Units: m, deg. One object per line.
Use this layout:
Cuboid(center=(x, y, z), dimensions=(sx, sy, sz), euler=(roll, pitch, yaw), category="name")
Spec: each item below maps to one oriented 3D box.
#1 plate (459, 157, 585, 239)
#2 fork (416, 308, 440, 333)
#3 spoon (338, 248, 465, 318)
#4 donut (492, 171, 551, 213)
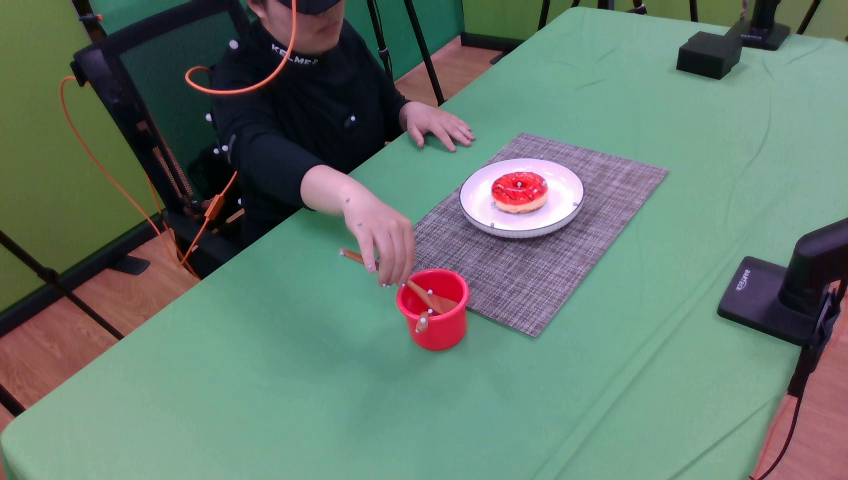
Cuboid(center=(0.163, -0.068, 1.015), dimensions=(0.209, 0.038, 0.208), euler=(-5, 40, 5), category="plate")
Cuboid(center=(0.003, 0.099, 0.764), dimensions=(0.028, 0.018, 0.207), euler=(-1, -4, 4), category="fork")
Cuboid(center=(-0.027, 0.055, 0.798), dimensions=(0.195, 0.021, 0.041), euler=(32, 24, -20), category="spoon")
Cuboid(center=(0.163, -0.083, 1.015), dimensions=(0.099, 0.048, 0.098), euler=(-6, 37, 5), category="donut")
